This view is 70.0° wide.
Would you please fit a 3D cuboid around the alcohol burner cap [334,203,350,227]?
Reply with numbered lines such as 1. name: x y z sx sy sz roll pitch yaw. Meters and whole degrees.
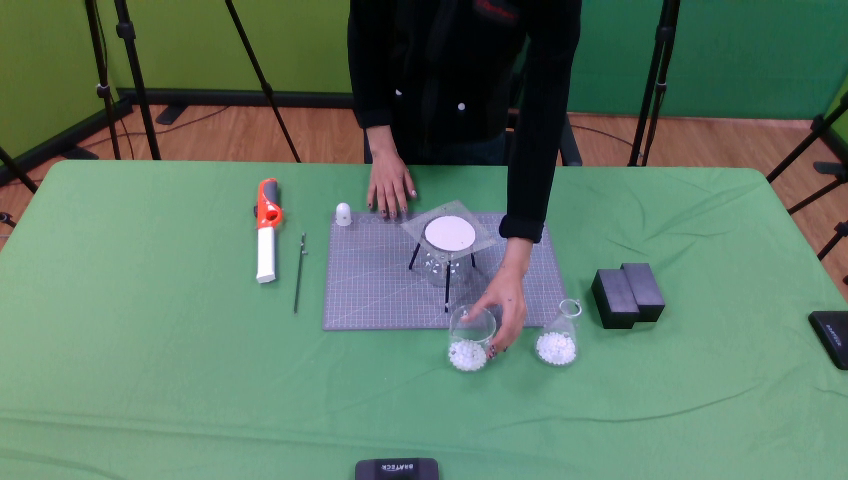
1. alcohol burner cap: -0.166 -0.053 1.220 0.034 0.048 0.033 2 46 -2

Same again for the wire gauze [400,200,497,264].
1. wire gauze: 0.042 -0.014 1.041 0.125 0.011 0.120 -22 50 -25

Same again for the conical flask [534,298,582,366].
1. conical flask: 0.229 0.149 1.005 0.075 0.122 0.075 2 46 -2

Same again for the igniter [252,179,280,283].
1. igniter: -0.313 -0.027 1.197 0.057 0.025 0.274 -12 47 -1

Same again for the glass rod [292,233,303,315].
1. glass rod: -0.236 0.060 1.134 0.008 0.008 0.198 -1 46 -4

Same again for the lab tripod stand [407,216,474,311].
1. lab tripod stand: 0.039 0.030 1.093 0.148 0.132 0.147 3 44 -2

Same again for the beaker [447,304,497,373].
1. beaker: 0.073 0.166 0.992 0.084 0.101 0.073 -22 51 -23

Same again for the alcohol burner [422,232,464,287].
1. alcohol burner: 0.036 0.030 1.107 0.078 0.120 0.077 1 47 -1
